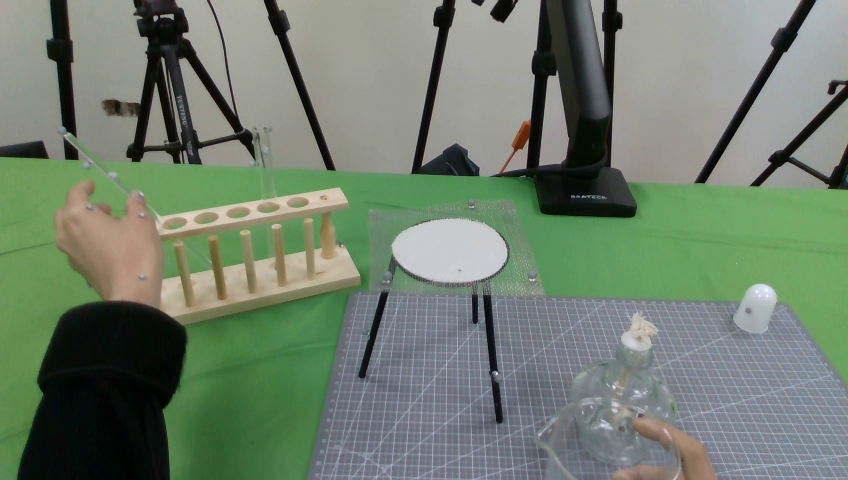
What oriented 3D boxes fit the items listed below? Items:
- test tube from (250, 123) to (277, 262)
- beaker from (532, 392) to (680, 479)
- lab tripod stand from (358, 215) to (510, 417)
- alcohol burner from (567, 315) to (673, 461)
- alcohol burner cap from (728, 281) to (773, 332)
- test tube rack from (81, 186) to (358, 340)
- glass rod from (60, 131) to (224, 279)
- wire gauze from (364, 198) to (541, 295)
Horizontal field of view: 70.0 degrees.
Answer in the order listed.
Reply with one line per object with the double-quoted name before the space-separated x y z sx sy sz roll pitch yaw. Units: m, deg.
"test tube" -0.157 -0.042 0.602 0.017 0.151 0.017 2 31 -1
"beaker" 0.106 0.157 0.380 0.084 0.101 0.073 6 34 10
"lab tripod stand" 0.016 0.058 0.496 0.148 0.132 0.147 0 35 0
"alcohol burner" 0.147 0.105 0.447 0.078 0.120 0.077 1 32 0
"alcohol burner cap" 0.317 0.061 0.584 0.034 0.048 0.033 1 34 0
"test tube rack" -0.193 0.018 0.600 0.243 0.086 0.066 -12 36 -19
"glass rod" -0.252 -0.023 0.558 0.008 0.202 0.008 -20 40 18
"wire gauze" 0.016 0.003 0.458 0.125 0.011 0.120 -2 33 -3
